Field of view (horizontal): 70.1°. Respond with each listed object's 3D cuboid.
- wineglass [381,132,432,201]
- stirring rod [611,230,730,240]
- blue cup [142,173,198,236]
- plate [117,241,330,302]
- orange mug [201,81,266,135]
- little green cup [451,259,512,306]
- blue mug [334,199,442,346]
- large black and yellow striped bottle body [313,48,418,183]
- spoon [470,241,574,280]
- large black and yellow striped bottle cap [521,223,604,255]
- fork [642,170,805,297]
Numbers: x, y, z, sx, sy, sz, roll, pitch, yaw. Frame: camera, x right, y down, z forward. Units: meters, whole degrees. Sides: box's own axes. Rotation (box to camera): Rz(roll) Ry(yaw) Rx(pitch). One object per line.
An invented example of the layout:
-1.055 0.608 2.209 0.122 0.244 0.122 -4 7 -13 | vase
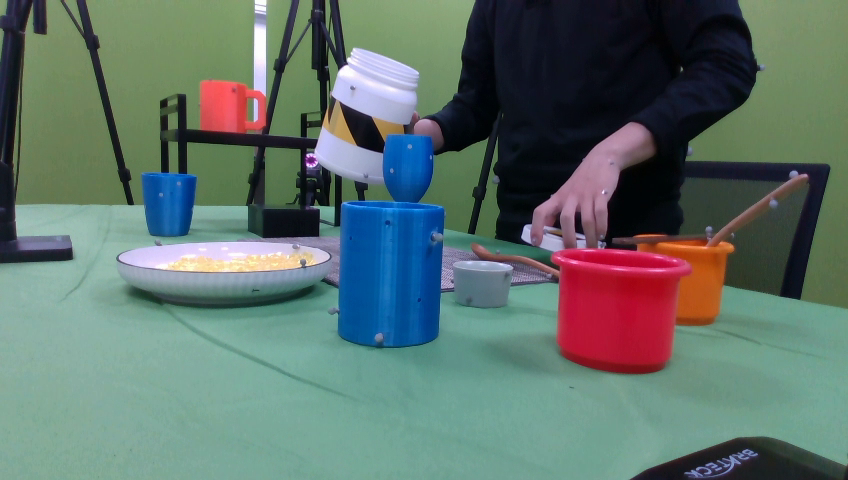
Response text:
-0.026 -0.061 0.841 0.074 0.172 0.073 2 7 0 | wineglass
0.241 -0.005 0.581 0.177 0.006 0.014 -2 9 -34 | stirring rod
-0.425 -0.060 1.014 0.093 0.100 0.092 4 9 0 | blue cup
-0.203 0.031 0.630 0.209 0.038 0.209 3 7 0 | plate
-0.376 -0.260 1.198 0.126 0.101 0.083 -3 8 -6 | orange mug
0.057 0.043 0.611 0.061 0.038 0.061 3 8 0 | little green cup
-0.034 0.020 0.498 0.083 0.106 0.116 0 7 -20 | blue mug
-0.090 -0.198 0.961 0.131 0.184 0.130 19 19 -7 | large black and yellow striped bottle body
0.124 0.025 0.800 0.042 0.021 0.192 22 -5 -34 | spoon
0.195 -0.003 0.854 0.115 0.019 0.115 11 11 -2 | large black and yellow striped bottle cap
0.261 0.004 0.545 0.028 0.018 0.207 5 -37 -15 | fork
